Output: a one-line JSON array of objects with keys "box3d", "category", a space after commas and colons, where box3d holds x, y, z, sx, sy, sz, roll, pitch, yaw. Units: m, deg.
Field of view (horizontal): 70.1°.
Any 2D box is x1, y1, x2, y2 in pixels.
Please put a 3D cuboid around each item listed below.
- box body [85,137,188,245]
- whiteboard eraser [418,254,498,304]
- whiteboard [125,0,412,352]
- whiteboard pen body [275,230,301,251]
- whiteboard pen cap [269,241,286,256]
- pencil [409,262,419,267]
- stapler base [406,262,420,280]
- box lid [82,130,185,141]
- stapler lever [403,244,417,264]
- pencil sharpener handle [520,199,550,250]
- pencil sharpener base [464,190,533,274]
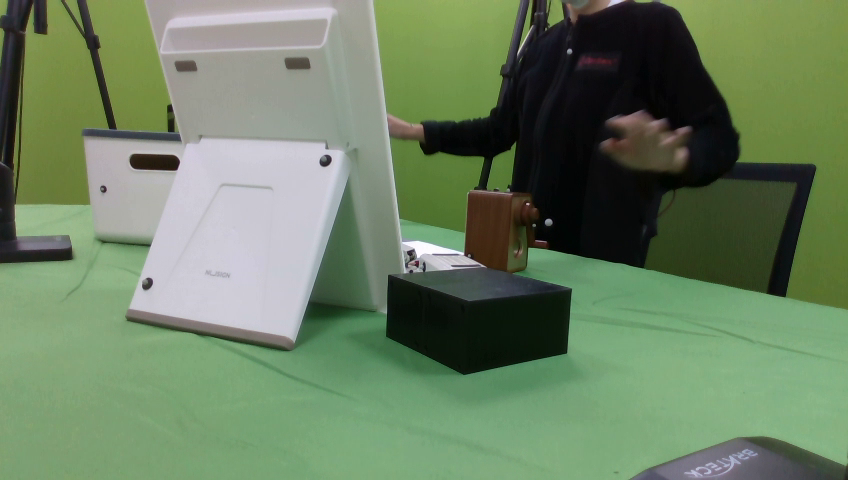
[{"box3d": [-0.340, -0.088, 1.022, 0.254, 0.160, 0.364, 4, 7, 11], "category": "box body"}, {"box3d": [0.033, 0.040, 0.631, 0.056, 0.042, 0.112, 3, 6, -15], "category": "whiteboard eraser"}, {"box3d": [-0.151, -0.050, 0.471, 0.216, 0.305, 0.144, 6, 27, 24], "category": "whiteboard"}, {"box3d": [-0.203, 0.002, 0.894, 0.017, 0.017, 0.140, 2, 9, -1], "category": "whiteboard pen body"}, {"box3d": [-0.202, 0.012, 0.836, 0.018, 0.018, 0.033, 2, 9, -1], "category": "whiteboard pen cap"}, {"box3d": [0.042, 0.028, 0.848, 0.012, 0.012, 0.195, 10, 10, 43], "category": "pencil"}, {"box3d": [-0.069, 0.027, 0.759, 0.130, 0.024, 0.041, 9, 13, 23], "category": "stapler base"}, {"box3d": [-0.337, -0.161, 1.011, 0.263, 0.015, 0.372, 4, 7, 11], "category": "box lid"}, {"box3d": [-0.066, 0.003, 0.755, 0.117, 0.040, 0.027, 9, 13, 23], "category": "stapler lever"}, {"box3d": [0.147, -0.019, 0.785, 0.030, 0.068, 0.036, 8, 25, 36], "category": "pencil sharpener handle"}, {"box3d": [0.102, -0.012, 0.812, 0.076, 0.107, 0.061, 8, 9, 36], "category": "pencil sharpener base"}]
